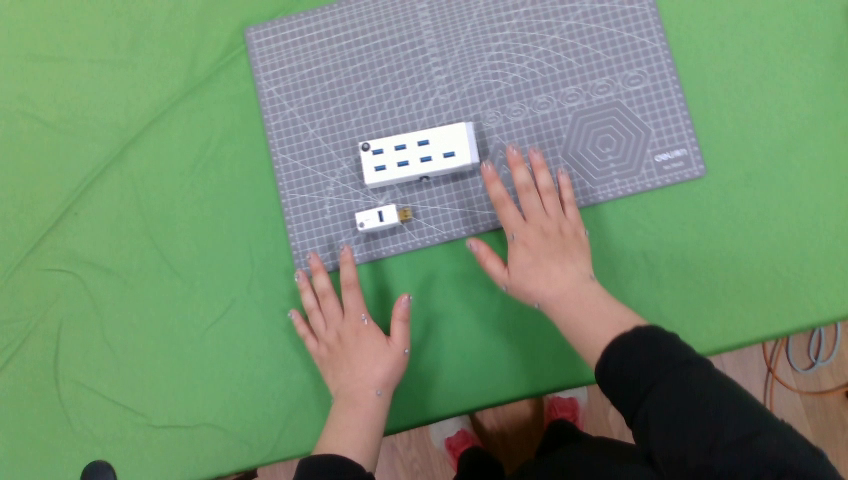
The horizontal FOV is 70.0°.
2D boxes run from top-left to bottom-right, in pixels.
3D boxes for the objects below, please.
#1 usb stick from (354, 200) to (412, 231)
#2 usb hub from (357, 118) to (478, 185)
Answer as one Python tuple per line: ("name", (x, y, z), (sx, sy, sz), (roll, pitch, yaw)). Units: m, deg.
("usb stick", (-0.043, -0.028, 0.650), (0.059, 0.027, 0.021), (-13, 82, 2))
("usb hub", (-0.008, -0.096, 0.654), (0.125, 0.025, 0.049), (-10, 83, 4))
